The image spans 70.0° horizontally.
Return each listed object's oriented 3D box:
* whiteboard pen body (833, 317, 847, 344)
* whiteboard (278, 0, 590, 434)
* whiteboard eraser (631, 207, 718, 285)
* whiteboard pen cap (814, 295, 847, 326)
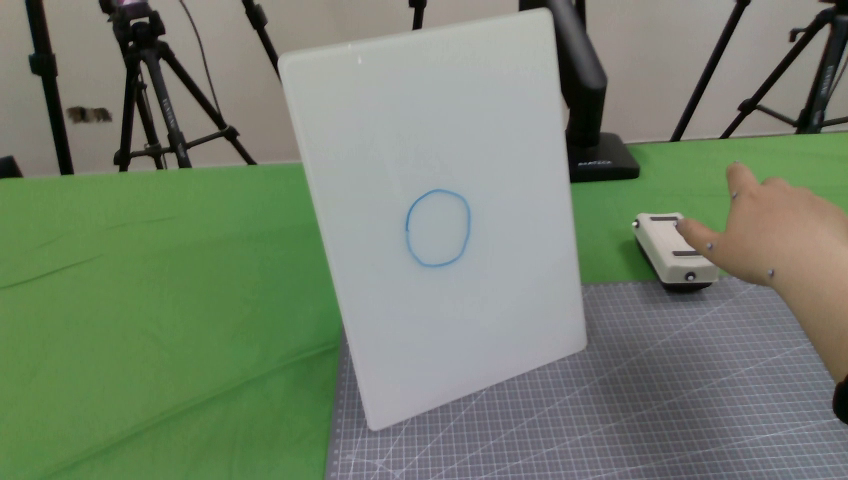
[{"bbox_3d":[0.394,0.104,0.532,0.017,0.017,0.139,-5,36,-2],"label":"whiteboard pen body"},{"bbox_3d":[0.005,-0.029,0.540,0.218,0.307,0.142,-17,19,-17],"label":"whiteboard"},{"bbox_3d":[0.266,0.005,0.651,0.055,0.042,0.111,-4,33,2],"label":"whiteboard eraser"},{"bbox_3d":[0.390,0.069,0.577,0.018,0.018,0.033,-4,34,-2],"label":"whiteboard pen cap"}]
